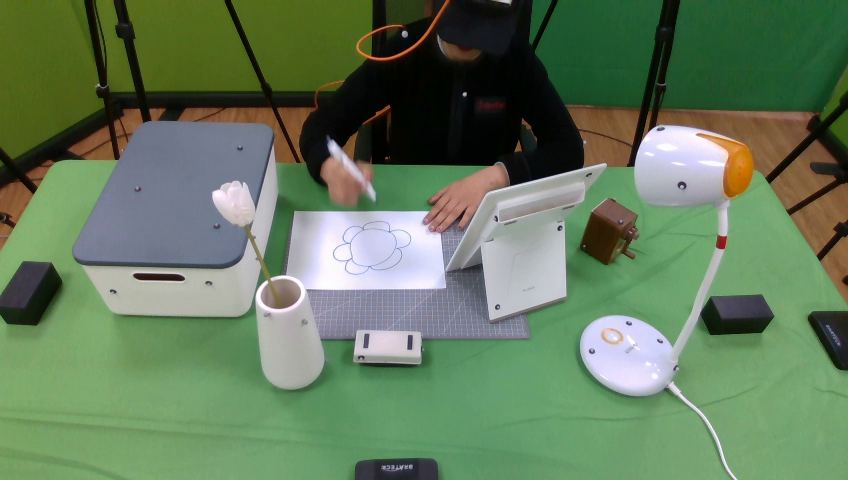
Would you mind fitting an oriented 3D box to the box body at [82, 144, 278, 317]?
[{"bbox_3d":[-0.421,-0.041,1.108,0.254,0.161,0.361,2,46,-3],"label":"box body"}]

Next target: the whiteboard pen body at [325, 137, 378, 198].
[{"bbox_3d":[-0.129,-0.129,1.095,0.141,0.017,0.017,49,56,-1],"label":"whiteboard pen body"}]

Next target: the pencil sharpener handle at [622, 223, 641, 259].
[{"bbox_3d":[0.397,0.003,1.146,0.030,0.068,0.036,37,46,27],"label":"pencil sharpener handle"}]

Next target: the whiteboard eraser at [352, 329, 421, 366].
[{"bbox_3d":[-0.061,0.180,1.005,0.113,0.042,0.055,3,48,-3],"label":"whiteboard eraser"}]

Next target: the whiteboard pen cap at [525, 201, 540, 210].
[{"bbox_3d":[0.230,-0.074,1.289,0.033,0.018,0.018,5,46,4],"label":"whiteboard pen cap"}]

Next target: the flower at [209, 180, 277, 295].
[{"bbox_3d":[-0.217,0.075,0.871,0.044,0.363,0.038,-29,36,-19],"label":"flower"}]

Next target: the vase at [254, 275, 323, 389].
[{"bbox_3d":[-0.209,0.143,0.921,0.098,0.201,0.097,1,46,-1],"label":"vase"}]

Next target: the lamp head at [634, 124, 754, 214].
[{"bbox_3d":[0.351,-0.089,0.776,0.112,0.113,0.122,-30,30,-28],"label":"lamp head"}]

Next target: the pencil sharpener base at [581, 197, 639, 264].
[{"bbox_3d":[0.362,-0.017,1.179,0.076,0.107,0.061,37,54,27],"label":"pencil sharpener base"}]

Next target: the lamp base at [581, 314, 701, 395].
[{"bbox_3d":[0.361,0.144,0.973,0.178,0.181,0.160,34,53,23],"label":"lamp base"}]

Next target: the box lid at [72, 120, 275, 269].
[{"bbox_3d":[-0.417,-0.094,1.056,0.263,0.015,0.369,1,47,-3],"label":"box lid"}]

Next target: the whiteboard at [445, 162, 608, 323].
[{"bbox_3d":[0.186,0.025,1.029,0.217,0.306,0.143,-14,68,-17],"label":"whiteboard"}]
